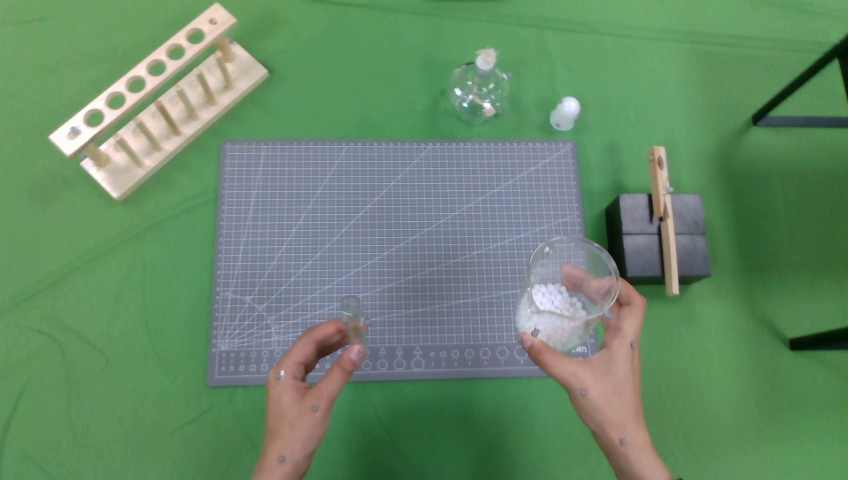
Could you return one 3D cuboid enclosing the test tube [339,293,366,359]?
[{"bbox_3d":[-0.061,0.080,0.536,0.017,0.151,0.017,1,64,-2],"label":"test tube"}]

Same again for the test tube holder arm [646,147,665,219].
[{"bbox_3d":[0.276,-0.068,0.720,0.010,0.015,0.087,1,76,-11],"label":"test tube holder arm"}]

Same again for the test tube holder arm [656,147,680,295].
[{"bbox_3d":[0.283,-0.024,0.711,0.013,0.015,0.177,0,76,-12],"label":"test tube holder arm"}]

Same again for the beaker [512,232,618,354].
[{"bbox_3d":[0.114,0.052,0.521,0.084,0.101,0.073,-36,67,-17],"label":"beaker"}]

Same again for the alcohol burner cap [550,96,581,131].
[{"bbox_3d":[0.184,-0.164,0.778,0.034,0.048,0.033,1,74,-4],"label":"alcohol burner cap"}]

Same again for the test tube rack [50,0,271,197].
[{"bbox_3d":[-0.301,-0.166,0.718,0.066,0.085,0.242,43,76,8],"label":"test tube rack"}]

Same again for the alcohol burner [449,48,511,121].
[{"bbox_3d":[0.071,-0.196,0.740,0.078,0.119,0.077,2,73,-5],"label":"alcohol burner"}]
